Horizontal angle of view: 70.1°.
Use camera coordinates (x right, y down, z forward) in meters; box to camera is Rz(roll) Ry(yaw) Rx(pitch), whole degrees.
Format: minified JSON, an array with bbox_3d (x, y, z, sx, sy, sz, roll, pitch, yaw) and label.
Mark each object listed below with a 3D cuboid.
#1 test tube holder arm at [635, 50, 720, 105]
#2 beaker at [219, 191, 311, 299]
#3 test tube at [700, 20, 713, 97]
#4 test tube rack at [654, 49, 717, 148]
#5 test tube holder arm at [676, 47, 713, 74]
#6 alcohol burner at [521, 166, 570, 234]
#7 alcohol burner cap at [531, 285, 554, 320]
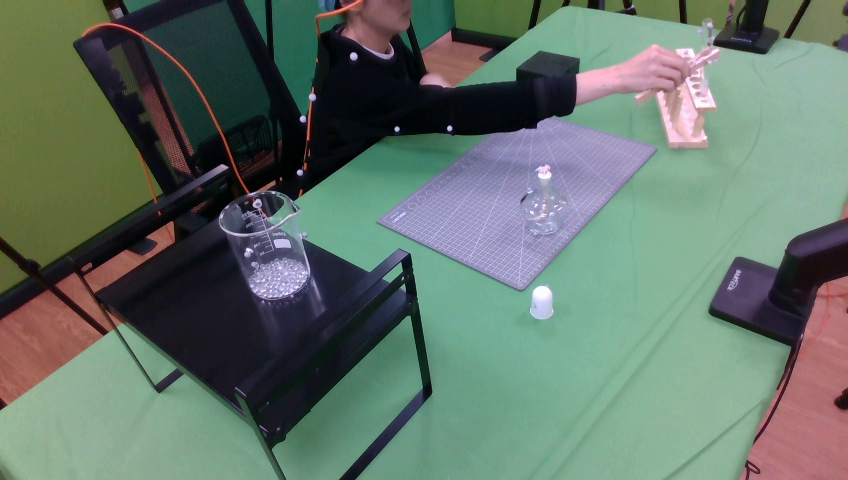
[{"bbox_3d":[0.430,-0.276,1.023,0.179,0.015,0.013,-32,42,-11],"label":"test tube holder arm"},{"bbox_3d":[-0.164,0.008,0.654,0.084,0.101,0.073,-10,41,-3],"label":"beaker"},{"bbox_3d":[0.487,-0.309,1.044,0.017,0.151,0.017,-11,45,12],"label":"test tube"},{"bbox_3d":[0.502,-0.281,1.176,0.066,0.085,0.241,2,41,11],"label":"test tube rack"},{"bbox_3d":[0.464,-0.303,1.037,0.088,0.015,0.010,-37,43,-16],"label":"test tube holder arm"},{"bbox_3d":[0.192,-0.068,0.951,0.078,0.119,0.077,-4,42,4],"label":"alcohol burner"},{"bbox_3d":[0.164,0.084,0.838,0.034,0.048,0.033,-4,40,4],"label":"alcohol burner cap"}]
